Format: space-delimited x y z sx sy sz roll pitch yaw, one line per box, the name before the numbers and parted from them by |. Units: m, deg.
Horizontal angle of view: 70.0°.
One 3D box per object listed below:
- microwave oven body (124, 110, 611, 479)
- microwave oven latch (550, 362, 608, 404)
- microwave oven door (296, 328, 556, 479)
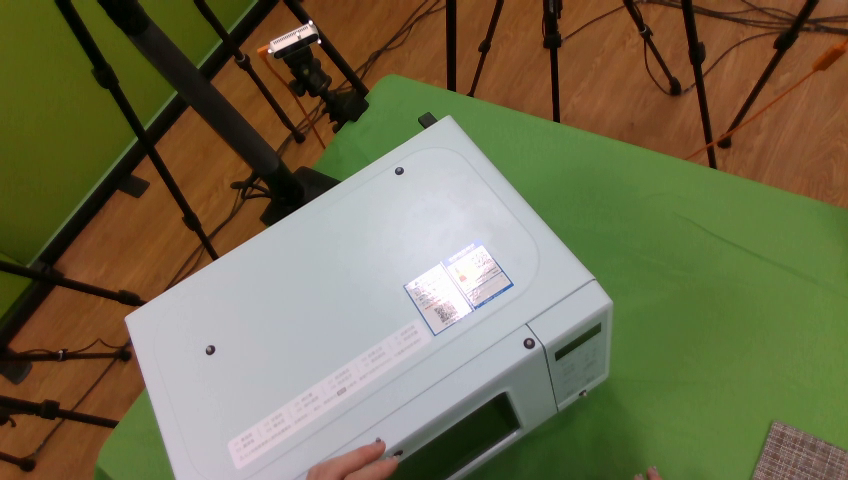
microwave oven body | -0.057 0.116 0.725 0.442 0.263 0.322 -33 59 -4
microwave oven latch | 0.188 0.168 0.744 0.079 0.030 0.030 -32 58 -3
microwave oven door | -0.021 0.236 0.641 0.356 0.246 0.039 -33 57 -5
